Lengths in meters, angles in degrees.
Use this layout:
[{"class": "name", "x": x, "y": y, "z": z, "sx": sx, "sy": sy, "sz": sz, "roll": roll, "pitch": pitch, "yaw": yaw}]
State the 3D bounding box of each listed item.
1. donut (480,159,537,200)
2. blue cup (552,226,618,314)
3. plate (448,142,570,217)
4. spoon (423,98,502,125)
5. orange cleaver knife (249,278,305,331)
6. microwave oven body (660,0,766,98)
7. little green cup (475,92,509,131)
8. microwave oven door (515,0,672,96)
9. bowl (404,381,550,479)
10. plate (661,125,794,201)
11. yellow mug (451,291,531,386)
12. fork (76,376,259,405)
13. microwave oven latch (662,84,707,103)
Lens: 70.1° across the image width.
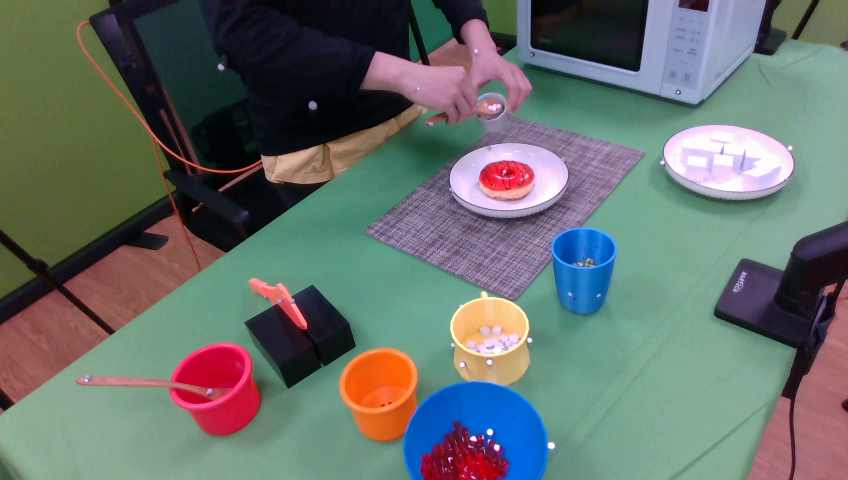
[{"class": "donut", "x": 0.145, "y": -0.106, "z": 1.043, "sx": 0.099, "sy": 0.048, "sz": 0.098, "roll": -5, "pitch": 38, "yaw": 4}, {"class": "blue cup", "x": 0.218, "y": 0.047, "z": 0.826, "sx": 0.092, "sy": 0.101, "sz": 0.092, "roll": -6, "pitch": 40, "yaw": 5}, {"class": "plate", "x": 0.148, "y": -0.101, "z": 1.053, "sx": 0.209, "sy": 0.038, "sz": 0.208, "roll": -4, "pitch": 40, "yaw": 4}, {"class": "spoon", "x": 0.064, "y": -0.213, "z": 1.003, "sx": 0.041, "sy": 0.021, "sz": 0.195, "roll": 39, "pitch": 39, "yaw": 27}, {"class": "orange cleaver knife", "x": -0.210, "y": 0.088, "z": 0.856, "sx": 0.012, "sy": 0.077, "sz": 0.210, "roll": -28, "pitch": 15, "yaw": -25}, {"class": "microwave oven body", "x": 0.473, "y": -0.513, "z": 1.317, "sx": 0.438, "sy": 0.261, "sz": 0.327, "roll": 26, "pitch": 51, "yaw": 34}, {"class": "little green cup", "x": 0.120, "y": -0.226, "z": 1.070, "sx": 0.061, "sy": 0.039, "sz": 0.061, "roll": -3, "pitch": 66, "yaw": 7}, {"class": "microwave oven door", "x": 0.344, "y": -0.455, "z": 1.260, "sx": 0.353, "sy": 0.245, "sz": 0.039, "roll": 26, "pitch": 51, "yaw": 33}, {"class": "bowl", "x": 0.058, "y": 0.235, "z": 0.645, "sx": 0.151, "sy": 0.077, "sz": 0.150, "roll": -4, "pitch": 39, "yaw": 4}, {"class": "plate", "x": 0.513, "y": -0.128, "z": 1.035, "sx": 0.207, "sy": 0.039, "sz": 0.206, "roll": -4, "pitch": 40, "yaw": 4}, {"class": "yellow mug", "x": 0.085, "y": 0.120, "z": 0.786, "sx": 0.100, "sy": 0.064, "sz": 0.130, "roll": -7, "pitch": 39, "yaw": 1}, {"class": "fork", "x": -0.295, "y": 0.176, "z": 0.716, "sx": 0.209, "sy": 0.018, "sz": 0.028, "roll": 19, "pitch": 26, "yaw": -36}, {"class": "microwave oven latch", "x": 0.517, "y": -0.296, "z": 1.204, "sx": 0.078, "sy": 0.029, "sz": 0.030, "roll": 26, "pitch": 52, "yaw": 35}]
